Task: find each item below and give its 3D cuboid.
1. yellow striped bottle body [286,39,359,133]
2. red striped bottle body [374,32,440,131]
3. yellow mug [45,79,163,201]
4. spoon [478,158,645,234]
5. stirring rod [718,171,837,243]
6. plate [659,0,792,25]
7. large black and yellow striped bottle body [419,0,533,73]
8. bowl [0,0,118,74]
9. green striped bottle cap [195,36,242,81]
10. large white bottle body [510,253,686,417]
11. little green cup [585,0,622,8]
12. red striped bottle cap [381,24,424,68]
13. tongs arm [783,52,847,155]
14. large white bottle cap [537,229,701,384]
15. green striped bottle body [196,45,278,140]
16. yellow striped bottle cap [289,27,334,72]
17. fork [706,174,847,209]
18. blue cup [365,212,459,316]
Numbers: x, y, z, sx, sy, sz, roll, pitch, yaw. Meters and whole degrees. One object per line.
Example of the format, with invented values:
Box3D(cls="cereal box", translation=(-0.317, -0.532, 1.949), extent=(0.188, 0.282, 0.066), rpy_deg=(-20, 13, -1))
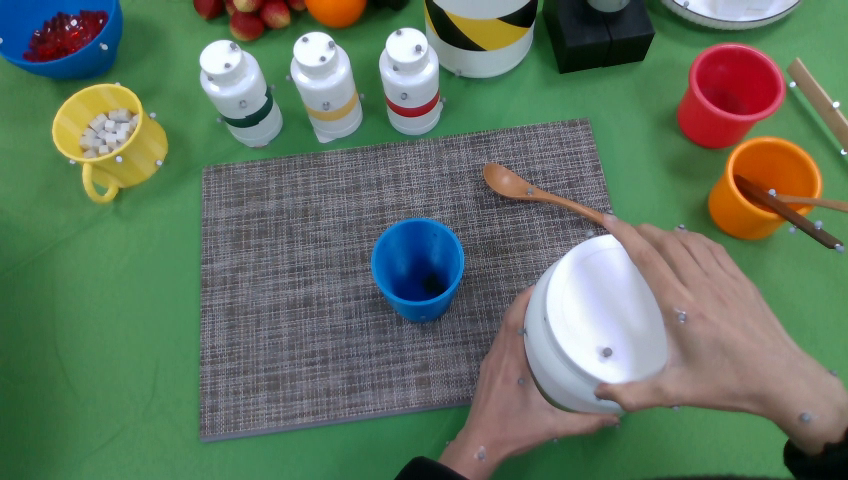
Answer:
Box3D(cls="yellow striped bottle body", translation=(-0.112, -0.175, 0.664), extent=(0.063, 0.121, 0.062), rpy_deg=(-1, 69, 3))
Box3D(cls="red striped bottle body", translation=(-0.018, -0.177, 0.662), extent=(0.063, 0.120, 0.062), rpy_deg=(-2, 67, 6))
Box3D(cls="yellow mug", translation=(-0.358, -0.107, 0.676), extent=(0.100, 0.064, 0.130), rpy_deg=(2, 70, 2))
Box3D(cls="spoon", translation=(0.147, -0.042, 0.652), extent=(0.193, 0.022, 0.041), rpy_deg=(23, 47, 10))
Box3D(cls="stirring rod", translation=(0.335, -0.037, 0.586), extent=(0.014, 0.006, 0.174), rpy_deg=(-6, 26, -2))
Box3D(cls="plate", translation=(0.366, -0.349, 0.756), extent=(0.209, 0.038, 0.207), rpy_deg=(-1, 70, 2))
Box3D(cls="large black and yellow striped bottle body", translation=(0.058, -0.290, 0.667), extent=(0.131, 0.185, 0.130), rpy_deg=(-1, 69, 2))
Box3D(cls="bowl", translation=(-0.433, -0.254, 0.729), extent=(0.151, 0.077, 0.150), rpy_deg=(0, 69, 1))
Box3D(cls="green striped bottle cap", translation=(-0.209, -0.185, 0.616), extent=(0.044, 0.020, 0.044), rpy_deg=(0, 68, 1))
Box3D(cls="large white bottle body", translation=(0.146, 0.078, 0.519), extent=(0.130, 0.186, 0.129), rpy_deg=(-1, 68, 3))
Box3D(cls="little green cup", translation=(0.207, -0.297, 0.688), extent=(0.061, 0.039, 0.061), rpy_deg=(0, 68, 1))
Box3D(cls="red striped bottle cap", translation=(-0.022, -0.197, 0.613), extent=(0.044, 0.018, 0.044), rpy_deg=(1, 67, -1))
Box3D(cls="tongs arm", translation=(0.508, -0.051, 0.638), extent=(0.051, 0.027, 0.382), rpy_deg=(-19, 70, -7))
Box3D(cls="large white bottle cap", translation=(0.140, 0.046, 0.440), extent=(0.115, 0.018, 0.114), rpy_deg=(-1, 68, 3))
Box3D(cls="green striped bottle body", translation=(-0.206, -0.166, 0.664), extent=(0.063, 0.120, 0.062), rpy_deg=(-1, 69, 2))
Box3D(cls="yellow striped bottle cap", translation=(-0.114, -0.194, 0.616), extent=(0.044, 0.019, 0.044), rpy_deg=(0, 70, 1))
Box3D(cls="fork", translation=(0.366, -0.039, 0.579), extent=(0.028, 0.019, 0.205), rpy_deg=(-47, 30, -13))
Box3D(cls="blue cup", translation=(-0.010, 0.032, 0.587), extent=(0.092, 0.101, 0.092), rpy_deg=(0, 68, 1))
